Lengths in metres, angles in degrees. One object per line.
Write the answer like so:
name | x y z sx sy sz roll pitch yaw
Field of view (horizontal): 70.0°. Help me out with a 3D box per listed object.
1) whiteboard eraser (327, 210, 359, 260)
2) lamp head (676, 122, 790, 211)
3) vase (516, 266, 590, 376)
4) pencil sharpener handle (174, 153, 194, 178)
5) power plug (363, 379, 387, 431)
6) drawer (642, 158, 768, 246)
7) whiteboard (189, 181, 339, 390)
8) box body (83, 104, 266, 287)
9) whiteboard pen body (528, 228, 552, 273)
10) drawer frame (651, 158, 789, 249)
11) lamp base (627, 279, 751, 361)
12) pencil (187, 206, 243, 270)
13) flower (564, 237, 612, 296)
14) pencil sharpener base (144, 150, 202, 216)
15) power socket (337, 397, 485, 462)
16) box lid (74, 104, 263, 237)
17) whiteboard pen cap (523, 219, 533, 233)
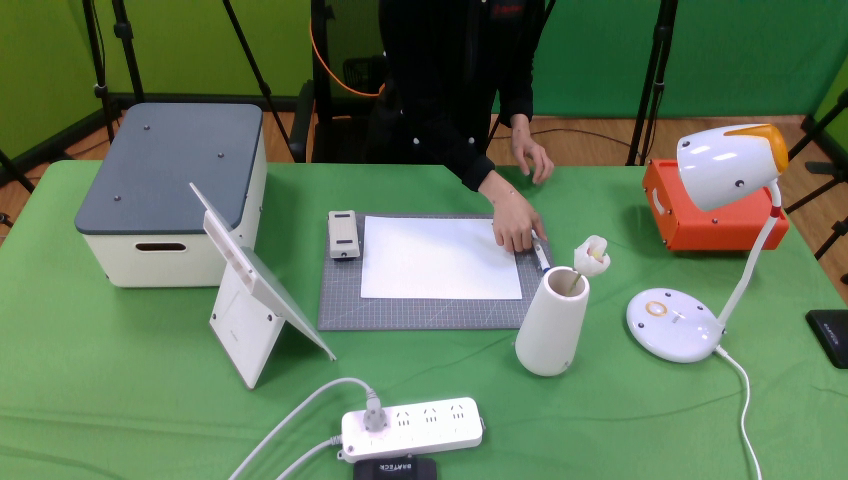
whiteboard eraser | -0.158 -0.009 1.177 0.055 0.042 0.112 -6 47 -7
lamp head | 0.423 -0.104 0.819 0.122 0.113 0.112 -13 33 40
vase | 0.208 0.132 0.964 0.098 0.201 0.097 3 46 -3
pencil sharpener handle | -0.479 -0.156 1.225 0.036 0.068 0.030 24 48 2
power plug | -0.072 0.252 0.910 0.035 0.053 0.072 3 45 -1
drawer | 0.565 -0.076 1.211 0.212 0.073 0.193 2 45 -2
whiteboard | -0.292 0.096 0.929 0.144 0.307 0.216 -37 57 -10
box body | -0.447 -0.088 1.150 0.254 0.161 0.361 -1 46 -5
whiteboard pen body | 0.224 0.013 1.197 0.017 0.017 0.140 -5 45 -9
drawer frame | 0.571 -0.075 1.214 0.214 0.083 0.200 0 45 -1
lamp base | 0.459 0.100 1.027 0.178 0.181 0.160 27 51 17
pencil | -0.401 -0.008 1.176 0.012 0.012 0.193 15 44 10
flower | 0.206 0.088 0.893 0.038 0.363 0.044 -17 67 -10
pencil sharpener base | -0.493 -0.113 1.199 0.061 0.107 0.076 15 46 12
power socket | -0.018 0.285 0.915 0.227 0.033 0.071 -5 46 -8
box lid | -0.443 -0.139 1.095 0.263 0.015 0.369 -1 45 -5
whiteboard pen cap | 0.213 -0.027 1.238 0.018 0.018 0.033 -4 46 -8
